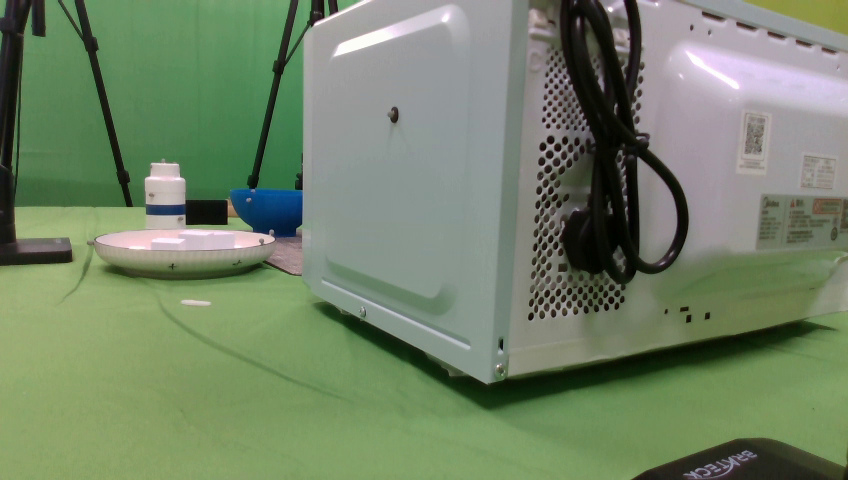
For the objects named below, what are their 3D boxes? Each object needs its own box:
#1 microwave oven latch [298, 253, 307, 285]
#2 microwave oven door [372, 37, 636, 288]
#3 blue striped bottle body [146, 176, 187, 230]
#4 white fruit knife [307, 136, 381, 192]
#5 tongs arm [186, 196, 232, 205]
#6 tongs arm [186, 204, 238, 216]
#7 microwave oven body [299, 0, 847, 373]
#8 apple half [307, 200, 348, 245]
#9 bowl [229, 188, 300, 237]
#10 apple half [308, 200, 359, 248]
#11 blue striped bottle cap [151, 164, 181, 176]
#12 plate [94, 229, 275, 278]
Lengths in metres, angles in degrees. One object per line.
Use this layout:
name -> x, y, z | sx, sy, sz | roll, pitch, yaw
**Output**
microwave oven latch -> -0.081, 0.027, 0.582 | 0.079, 0.029, 0.030 | -2, 7, -32
microwave oven door -> 0.110, -0.080, 0.686 | 0.358, 0.243, 0.039 | -2, 9, -33
blue striped bottle body -> -0.430, -0.066, 1.009 | 0.063, 0.120, 0.063 | 2, 7, 0
white fruit knife -> -0.135, -0.133, 1.055 | 0.016, 0.027, 0.208 | -2, -18, 30
tongs arm -> -0.404, -0.081, 1.479 | 0.385, 0.026, 0.050 | 3, 8, -2
tongs arm -> -0.396, -0.067, 1.399 | 0.389, 0.028, 0.028 | 1, 5, -15
microwave oven body -> 0.152, -0.055, 0.542 | 0.444, 0.260, 0.324 | -2, 7, -33
apple half -> -0.161, -0.030, 0.964 | 0.082, 0.081, 0.032 | -5, 16, -45
bowl -> -0.265, -0.048, 1.066 | 0.151, 0.077, 0.151 | 3, 8, 0
apple half -> -0.133, -0.023, 0.938 | 0.053, 0.074, 0.081 | 18, 12, 42
blue striped bottle cap -> -0.428, -0.116, 1.002 | 0.044, 0.020, 0.044 | 1, 6, 0
plate -> -0.291, 0.016, 0.750 | 0.208, 0.039, 0.207 | 2, 7, 0
